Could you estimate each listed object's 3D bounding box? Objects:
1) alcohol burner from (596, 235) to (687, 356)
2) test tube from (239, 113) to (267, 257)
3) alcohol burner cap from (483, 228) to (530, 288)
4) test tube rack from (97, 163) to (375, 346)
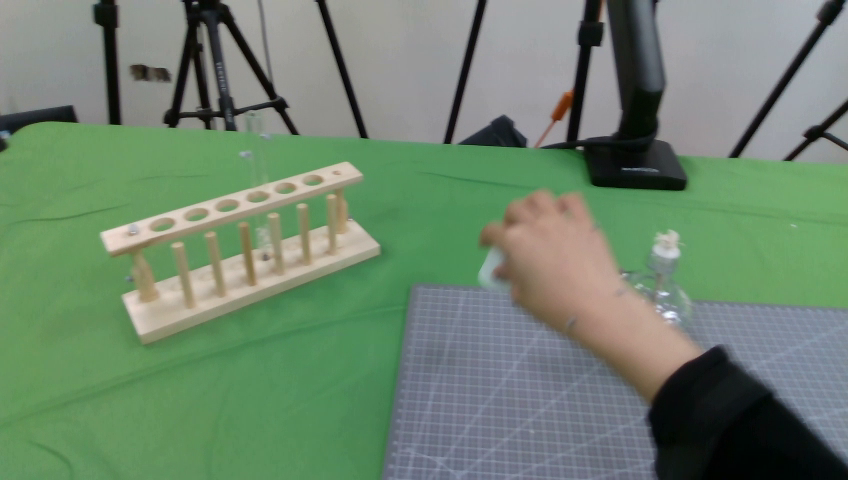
[{"bbox_3d":[0.192,0.043,0.526,0.078,0.120,0.077,2,38,-1],"label":"alcohol burner"},{"bbox_3d":[-0.164,-0.048,0.583,0.017,0.151,0.017,4,32,-2],"label":"test tube"},{"bbox_3d":[0.069,0.012,0.491,0.034,0.048,0.033,10,41,-8],"label":"alcohol burner cap"},{"bbox_3d":[-0.170,0.006,0.591,0.243,0.086,0.066,-21,42,-28],"label":"test tube rack"}]
